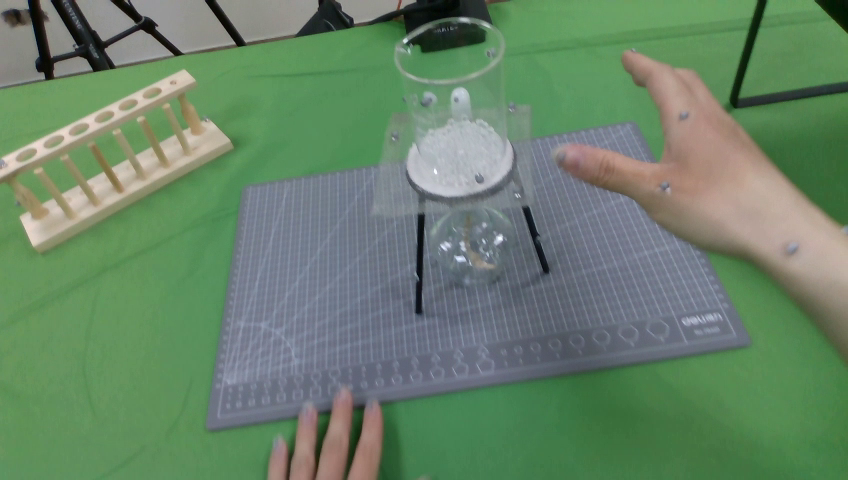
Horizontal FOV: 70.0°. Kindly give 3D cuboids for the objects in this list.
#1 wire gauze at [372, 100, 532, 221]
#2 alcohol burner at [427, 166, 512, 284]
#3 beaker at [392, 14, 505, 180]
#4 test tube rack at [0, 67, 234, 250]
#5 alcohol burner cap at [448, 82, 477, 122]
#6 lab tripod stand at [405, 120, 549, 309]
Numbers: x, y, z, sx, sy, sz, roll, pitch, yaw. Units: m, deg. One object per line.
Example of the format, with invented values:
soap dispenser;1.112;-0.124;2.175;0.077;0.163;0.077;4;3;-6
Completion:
wire gauze;0.023;-0.069;0.482;0.121;0.011;0.124;-2;53;10
alcohol burner;0.039;-0.017;0.536;0.078;0.120;0.077;-5;47;6
beaker;0.020;-0.101;0.445;0.083;0.101;0.074;22;58;26
test tube rack;-0.354;-0.098;0.695;0.242;0.086;0.066;-34;53;-19
alcohol burner cap;0.044;-0.163;0.715;0.034;0.048;0.033;-5;50;7
lab tripod stand;0.035;-0.022;0.528;0.148;0.133;0.147;-4;51;6
